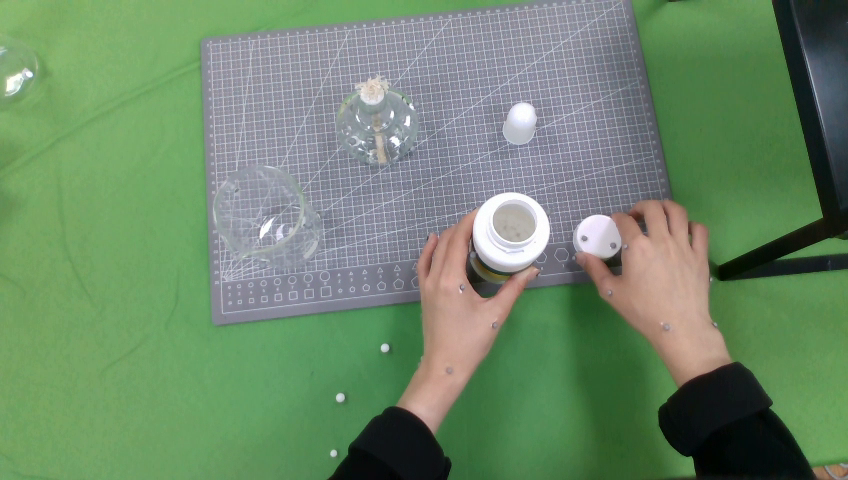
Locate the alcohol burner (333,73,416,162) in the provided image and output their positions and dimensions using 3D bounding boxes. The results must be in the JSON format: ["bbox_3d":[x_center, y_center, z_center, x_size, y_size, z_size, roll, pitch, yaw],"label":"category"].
[{"bbox_3d":[-0.046,-0.117,0.551,0.078,0.119,0.077,0,76,-1],"label":"alcohol burner"}]

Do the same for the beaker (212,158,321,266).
[{"bbox_3d":[-0.135,-0.017,0.538,0.074,0.100,0.083,21,79,6],"label":"beaker"}]

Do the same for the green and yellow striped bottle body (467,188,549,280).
[{"bbox_3d":[0.071,-0.005,0.522,0.063,0.120,0.063,0,77,1],"label":"green and yellow striped bottle body"}]

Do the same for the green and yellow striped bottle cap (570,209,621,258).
[{"bbox_3d":[0.163,-0.007,0.576,0.045,0.020,0.045,0,79,1],"label":"green and yellow striped bottle cap"}]

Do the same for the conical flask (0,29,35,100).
[{"bbox_3d":[-0.438,-0.190,0.569,0.075,0.122,0.075,0,77,1],"label":"conical flask"}]

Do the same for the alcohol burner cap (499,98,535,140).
[{"bbox_3d":[0.092,-0.120,0.587,0.034,0.048,0.033,0,77,1],"label":"alcohol burner cap"}]
